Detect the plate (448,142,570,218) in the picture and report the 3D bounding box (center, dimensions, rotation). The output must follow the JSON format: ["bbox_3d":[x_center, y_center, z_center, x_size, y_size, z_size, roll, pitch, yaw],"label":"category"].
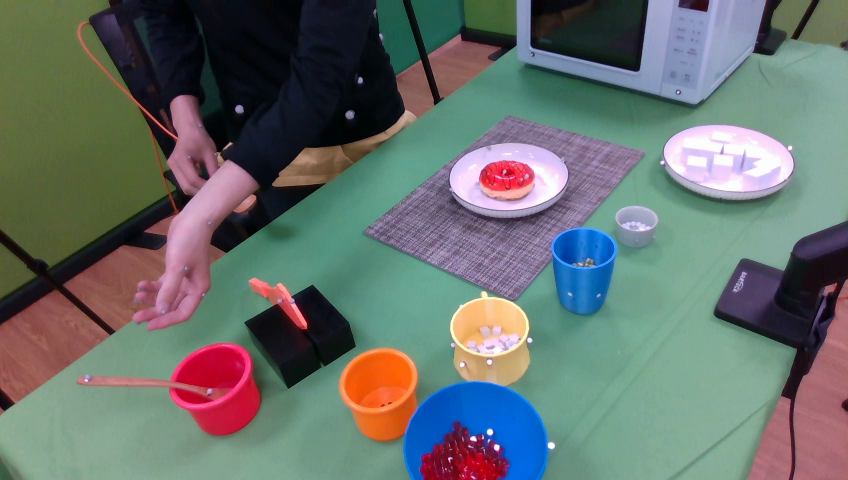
[{"bbox_3d":[0.148,-0.101,1.053,0.209,0.038,0.208,-4,40,4],"label":"plate"}]

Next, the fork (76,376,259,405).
[{"bbox_3d":[-0.295,0.176,0.716,0.209,0.018,0.028,19,27,-36],"label":"fork"}]

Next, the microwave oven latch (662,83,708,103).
[{"bbox_3d":[0.518,-0.297,1.204,0.078,0.029,0.030,28,52,35],"label":"microwave oven latch"}]

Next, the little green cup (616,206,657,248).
[{"bbox_3d":[0.327,-0.019,0.935,0.061,0.039,0.061,-4,40,4],"label":"little green cup"}]

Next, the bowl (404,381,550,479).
[{"bbox_3d":[0.058,0.235,0.645,0.151,0.077,0.150,-4,39,4],"label":"bowl"}]

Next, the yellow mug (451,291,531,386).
[{"bbox_3d":[0.085,0.120,0.786,0.100,0.064,0.130,-7,39,1],"label":"yellow mug"}]

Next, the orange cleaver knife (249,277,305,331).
[{"bbox_3d":[-0.210,0.088,0.856,0.012,0.077,0.210,-29,15,-24],"label":"orange cleaver knife"}]

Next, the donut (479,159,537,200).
[{"bbox_3d":[0.145,-0.106,1.042,0.099,0.048,0.098,-4,37,4],"label":"donut"}]

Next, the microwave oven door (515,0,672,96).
[{"bbox_3d":[0.344,-0.455,1.259,0.353,0.245,0.039,26,51,33],"label":"microwave oven door"}]

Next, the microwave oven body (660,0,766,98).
[{"bbox_3d":[0.473,-0.514,1.317,0.438,0.261,0.327,26,51,34],"label":"microwave oven body"}]

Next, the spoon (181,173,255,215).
[{"bbox_3d":[-0.353,-0.085,1.026,0.192,0.022,0.041,25,71,28],"label":"spoon"}]

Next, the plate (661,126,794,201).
[{"bbox_3d":[0.513,-0.127,1.035,0.207,0.039,0.206,-4,40,4],"label":"plate"}]

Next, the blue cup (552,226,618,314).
[{"bbox_3d":[0.218,0.047,0.826,0.092,0.101,0.092,-6,40,5],"label":"blue cup"}]
